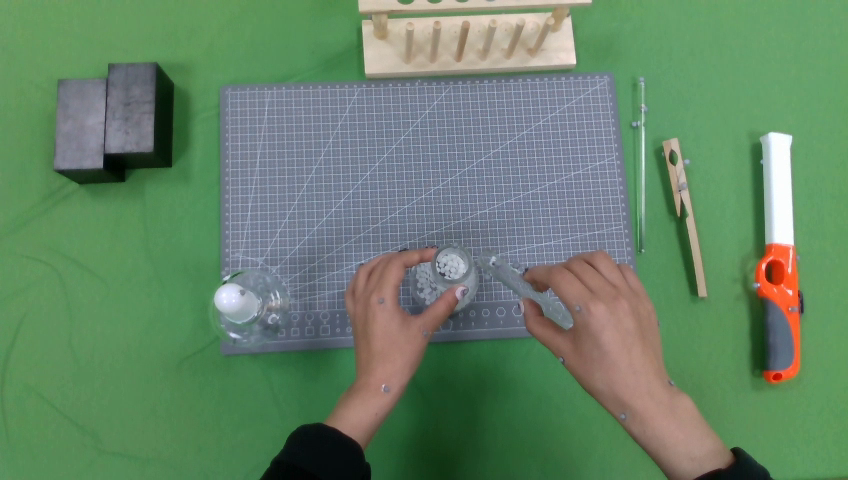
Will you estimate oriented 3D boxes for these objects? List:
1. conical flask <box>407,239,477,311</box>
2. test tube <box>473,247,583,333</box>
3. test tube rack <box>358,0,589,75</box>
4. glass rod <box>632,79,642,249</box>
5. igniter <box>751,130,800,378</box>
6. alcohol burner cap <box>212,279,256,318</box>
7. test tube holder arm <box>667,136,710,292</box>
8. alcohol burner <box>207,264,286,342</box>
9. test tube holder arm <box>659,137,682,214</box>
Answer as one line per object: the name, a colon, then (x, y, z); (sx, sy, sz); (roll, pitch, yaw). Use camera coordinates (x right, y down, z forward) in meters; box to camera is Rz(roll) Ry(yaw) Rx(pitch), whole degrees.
conical flask: (0.021, 0.029, 0.598); (0.075, 0.122, 0.075); (0, 80, -2)
test tube: (0.094, 0.046, 0.524); (0.152, 0.017, 0.017); (35, 77, -35)
test tube rack: (0.051, -0.237, 0.667); (0.242, 0.085, 0.066); (-3, 80, -3)
glass rod: (0.243, -0.088, 0.689); (0.008, 0.008, 0.199); (4, 82, -2)
igniter: (0.387, 0.012, 0.669); (0.057, 0.025, 0.275); (7, 80, -12)
alcohol burner cap: (-0.175, 0.051, 0.552); (0.034, 0.048, 0.033); (1, 71, -2)
test tube holder arm: (0.293, -0.030, 0.675); (0.013, 0.015, 0.177); (-17, 79, 32)
alcohol burner: (-0.176, 0.059, 0.587); (0.078, 0.119, 0.077); (0, 78, -1)
test tube holder arm: (0.281, -0.073, 0.685); (0.010, 0.015, 0.087); (-15, 79, 32)
